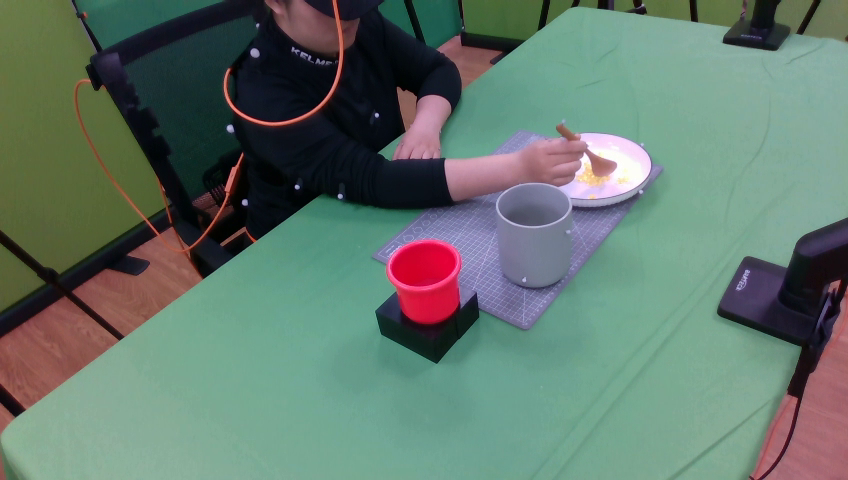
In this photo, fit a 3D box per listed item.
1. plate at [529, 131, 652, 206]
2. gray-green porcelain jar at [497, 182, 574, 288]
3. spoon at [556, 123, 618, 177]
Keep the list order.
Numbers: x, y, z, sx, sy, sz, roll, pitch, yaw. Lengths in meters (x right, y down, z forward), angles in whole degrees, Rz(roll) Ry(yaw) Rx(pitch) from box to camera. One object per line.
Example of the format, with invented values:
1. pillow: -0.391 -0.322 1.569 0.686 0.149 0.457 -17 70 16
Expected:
1. plate: 0.287 -0.121 1.056 0.207 0.039 0.206 -5 40 5
2. gray-green porcelain jar: 0.160 -0.003 0.870 0.106 0.127 0.105 -5 40 5
3. spoon: 0.257 -0.141 0.959 0.041 0.195 0.021 -31 53 29
